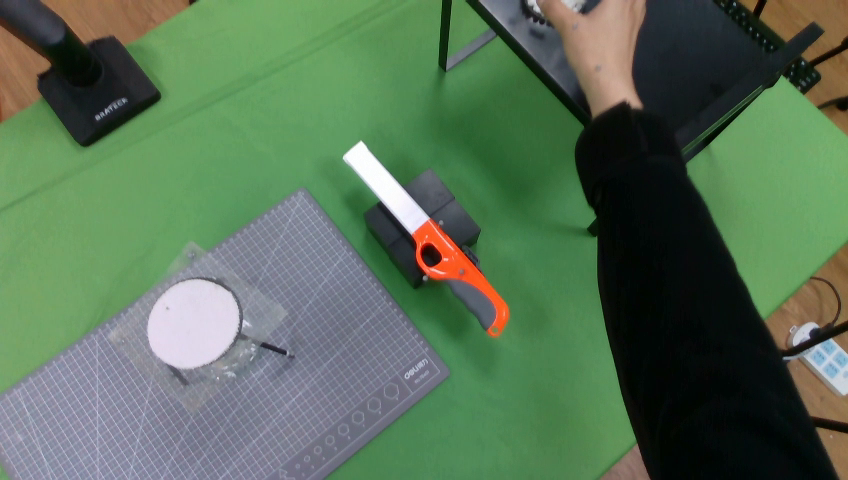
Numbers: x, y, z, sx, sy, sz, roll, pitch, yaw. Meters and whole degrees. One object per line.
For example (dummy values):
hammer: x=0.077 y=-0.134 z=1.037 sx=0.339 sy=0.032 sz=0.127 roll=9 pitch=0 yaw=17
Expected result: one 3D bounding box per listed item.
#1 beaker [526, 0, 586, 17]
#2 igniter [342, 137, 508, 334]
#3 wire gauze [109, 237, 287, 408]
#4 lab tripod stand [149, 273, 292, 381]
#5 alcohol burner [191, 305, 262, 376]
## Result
beaker: x=0.136 y=-0.277 z=0.594 sx=0.084 sy=0.101 sz=0.073 roll=15 pitch=73 yaw=4
igniter: x=0.002 y=-0.009 z=0.691 sx=0.057 sy=0.025 sz=0.275 roll=-40 pitch=78 yaw=-1
wire gauze: x=-0.218 y=0.077 z=0.581 sx=0.121 sy=0.011 sz=0.125 roll=38 pitch=77 yaw=9
lab tripod stand: x=-0.224 y=0.089 z=0.646 sx=0.148 sy=0.132 sz=0.147 roll=0 pitch=73 yaw=0
alcohol burner: x=-0.217 y=0.106 z=0.652 sx=0.078 sy=0.119 sz=0.077 roll=1 pitch=75 yaw=-2
